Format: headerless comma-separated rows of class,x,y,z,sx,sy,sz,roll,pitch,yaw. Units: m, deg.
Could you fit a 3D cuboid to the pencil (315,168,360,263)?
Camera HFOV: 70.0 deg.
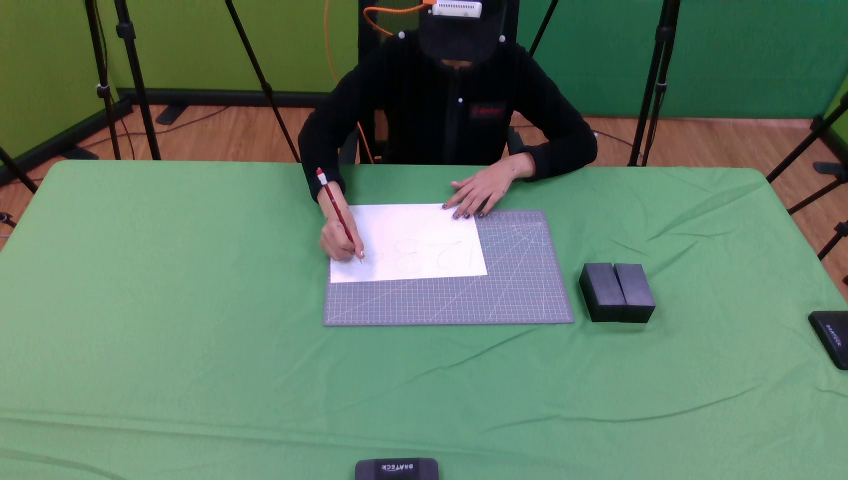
pencil,-0.157,-0.043,1.123,0.012,0.194,0.012,-21,15,6
